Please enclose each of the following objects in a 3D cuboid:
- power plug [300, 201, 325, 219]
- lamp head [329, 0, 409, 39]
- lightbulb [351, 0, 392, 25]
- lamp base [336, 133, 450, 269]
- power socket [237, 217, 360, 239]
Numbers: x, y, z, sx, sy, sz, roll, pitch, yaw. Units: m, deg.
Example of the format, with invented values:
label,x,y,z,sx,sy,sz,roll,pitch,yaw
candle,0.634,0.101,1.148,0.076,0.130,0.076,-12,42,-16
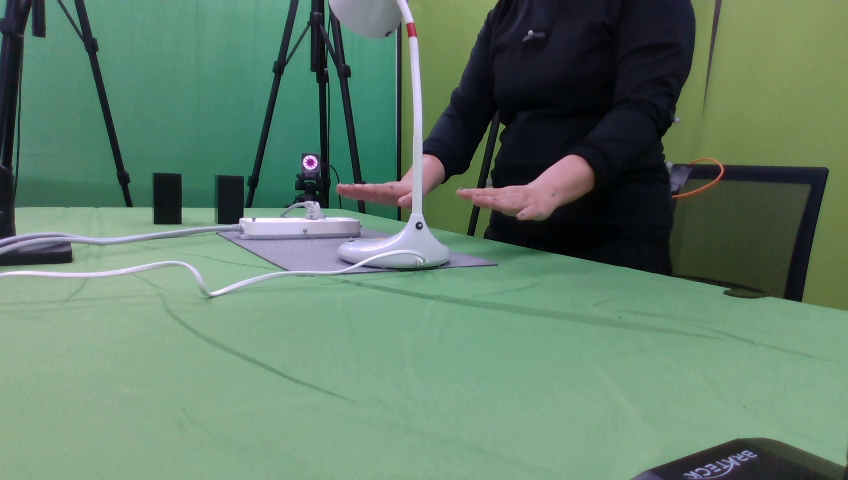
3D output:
label,x,y,z,sx,sy,sz,roll,pitch,yaw
power plug,-0.207,-0.046,1.120,0.035,0.052,0.072,1,4,-21
lamp head,-0.062,-0.357,0.842,0.113,0.112,0.122,-1,-14,-29
lightbulb,-0.070,-0.355,0.866,0.060,0.059,0.107,0,-21,-20
lamp base,-0.032,-0.057,0.830,0.161,0.180,0.178,-2,11,-34
power socket,-0.220,-0.023,1.080,0.228,0.032,0.072,-2,8,-33
